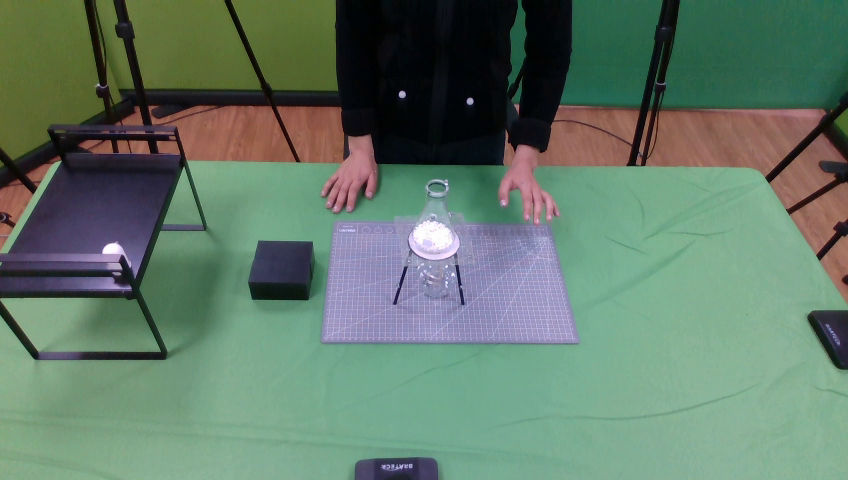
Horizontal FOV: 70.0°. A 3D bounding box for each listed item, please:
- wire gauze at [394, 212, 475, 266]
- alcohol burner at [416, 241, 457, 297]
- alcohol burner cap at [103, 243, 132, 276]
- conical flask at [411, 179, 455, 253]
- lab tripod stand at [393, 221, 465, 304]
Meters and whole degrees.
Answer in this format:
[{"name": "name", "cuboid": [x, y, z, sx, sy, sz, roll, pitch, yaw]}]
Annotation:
[{"name": "wire gauze", "cuboid": [0.015, -0.001, 1.029, 0.125, 0.011, 0.120, -5, 45, -5]}, {"name": "alcohol burner", "cuboid": [0.024, 0.047, 1.088, 0.078, 0.120, 0.077, 1, 47, -1]}, {"name": "alcohol burner cap", "cuboid": [-0.446, 0.025, 0.875, 0.034, 0.048, 0.033, 3, 46, -3]}, {"name": "conical flask", "cuboid": [0.017, -0.042, 0.985, 0.075, 0.122, 0.075, 2, 47, -2]}, {"name": "lab tripod stand", "cuboid": [0.011, 0.046, 1.074, 0.148, 0.132, 0.147, 2, 48, -2]}]
